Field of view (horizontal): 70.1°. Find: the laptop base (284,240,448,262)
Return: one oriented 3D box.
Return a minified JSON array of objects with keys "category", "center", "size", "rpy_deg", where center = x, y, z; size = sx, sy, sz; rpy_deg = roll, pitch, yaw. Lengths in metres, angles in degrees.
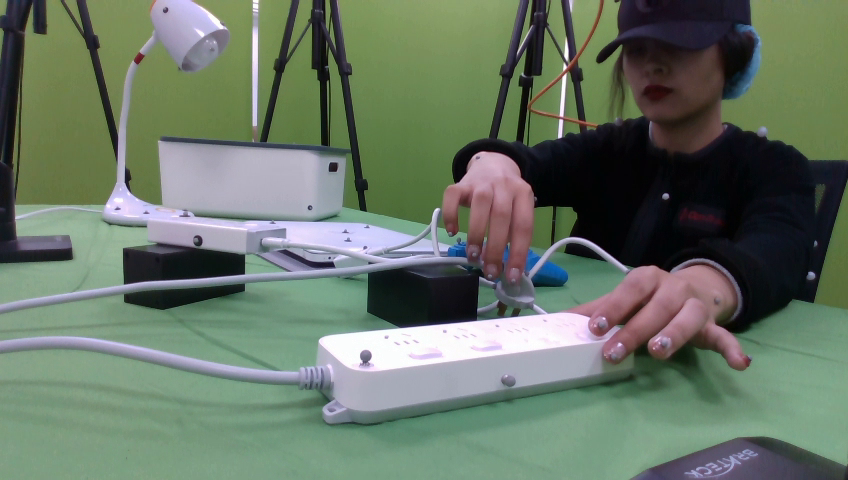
[{"category":"laptop base","center":[-0.125,0.003,0.945],"size":[0.237,0.023,0.352],"rpy_deg":[2,6,-31]}]

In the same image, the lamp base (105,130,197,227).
[{"category":"lamp base","center":[-0.532,-0.120,1.153],"size":[0.179,0.180,0.161],"rpy_deg":[1,7,8]}]

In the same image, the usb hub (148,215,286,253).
[{"category":"usb hub","center":[-0.197,-0.006,0.575],"size":[0.125,0.025,0.050],"rpy_deg":[6,7,22]}]

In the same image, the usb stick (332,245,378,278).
[{"category":"usb stick","center":[-0.085,0.026,0.701],"size":[0.059,0.027,0.021],"rpy_deg":[-18,17,27]}]

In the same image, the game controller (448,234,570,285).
[{"category":"game controller","center":[0.099,0.021,0.756],"size":[0.097,0.051,0.154],"rpy_deg":[-7,10,-29]}]

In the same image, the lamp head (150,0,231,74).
[{"category":"lamp head","center":[-0.432,-0.374,1.086],"size":[0.123,0.112,0.112],"rpy_deg":[42,8,-2]}]

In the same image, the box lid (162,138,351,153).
[{"category":"box lid","center":[-0.371,-0.215,1.394],"size":[0.371,0.015,0.263],"rpy_deg":[4,8,7]}]

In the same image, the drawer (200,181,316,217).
[{"category":"drawer","center":[-0.372,-0.097,1.393],"size":[0.212,0.073,0.194],"rpy_deg":[1,9,6]}]

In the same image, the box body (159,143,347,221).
[{"category":"box body","center":[-0.384,-0.137,1.406],"size":[0.364,0.160,0.254],"rpy_deg":[3,8,7]}]

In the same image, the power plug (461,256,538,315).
[{"category":"power plug","center":[0.065,0.039,0.535],"size":[0.072,0.052,0.035],"rpy_deg":[18,25,7]}]

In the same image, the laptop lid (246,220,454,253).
[{"category":"laptop lid","center":[-0.123,-0.009,0.945],"size":[0.243,0.013,0.355],"rpy_deg":[1,7,-29]}]

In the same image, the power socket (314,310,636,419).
[{"category":"power socket","center":[0.039,0.072,0.385],"size":[0.228,0.032,0.072],"rpy_deg":[-2,7,-28]}]
